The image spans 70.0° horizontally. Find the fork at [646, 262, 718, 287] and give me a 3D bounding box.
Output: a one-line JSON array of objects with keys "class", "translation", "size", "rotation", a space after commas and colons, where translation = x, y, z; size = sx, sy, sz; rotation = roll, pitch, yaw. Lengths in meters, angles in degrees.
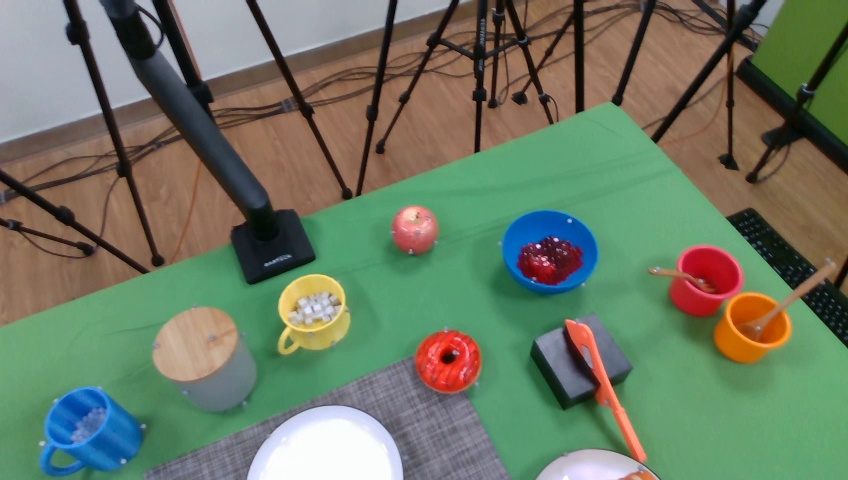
[{"class": "fork", "translation": [0.391, 0.050, 0.913], "size": [0.209, 0.018, 0.028], "rotation": [13, 44, -42]}]

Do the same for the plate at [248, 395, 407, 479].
[{"class": "plate", "translation": [-0.126, 0.313, 0.805], "size": [0.208, 0.039, 0.205], "rotation": [0, 56, 1]}]

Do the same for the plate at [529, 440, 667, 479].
[{"class": "plate", "translation": [0.225, 0.363, 0.768], "size": [0.209, 0.038, 0.207], "rotation": [0, 56, 1]}]

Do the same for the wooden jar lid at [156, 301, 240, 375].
[{"class": "wooden jar lid", "translation": [-0.299, 0.132, 0.806], "size": [0.108, 0.021, 0.107], "rotation": [-1, 54, 2]}]

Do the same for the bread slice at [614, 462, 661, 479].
[{"class": "bread slice", "translation": [0.262, 0.329, 0.724], "size": [0.018, 0.135, 0.106], "rotation": [-12, 57, -18]}]

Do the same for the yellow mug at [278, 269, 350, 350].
[{"class": "yellow mug", "translation": [-0.177, 0.114, 0.929], "size": [0.099, 0.064, 0.130], "rotation": [28, 61, 19]}]

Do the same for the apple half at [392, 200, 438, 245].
[{"class": "apple half", "translation": [-0.009, -0.034, 1.022], "size": [0.080, 0.075, 0.053], "rotation": [24, 54, 21]}]

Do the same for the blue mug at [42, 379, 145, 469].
[{"class": "blue mug", "translation": [-0.449, 0.257, 0.811], "size": [0.082, 0.107, 0.116], "rotation": [34, 63, 22]}]

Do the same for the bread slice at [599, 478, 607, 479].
[{"class": "bread slice", "translation": [0.209, 0.340, 0.717], "size": [0.019, 0.132, 0.104], "rotation": [-11, 56, -15]}]

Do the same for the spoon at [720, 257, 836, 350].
[{"class": "spoon", "translation": [0.515, 0.093, 0.881], "size": [0.022, 0.194, 0.041], "rotation": [11, 37, -47]}]

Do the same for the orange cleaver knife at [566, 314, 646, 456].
[{"class": "orange cleaver knife", "translation": [0.252, 0.201, 0.851], "size": [0.012, 0.077, 0.210], "rotation": [-21, 82, -13]}]

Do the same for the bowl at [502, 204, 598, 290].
[{"class": "bowl", "translation": [0.197, 0.024, 0.976], "size": [0.151, 0.077, 0.150], "rotation": [0, 56, 1]}]

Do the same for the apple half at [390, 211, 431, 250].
[{"class": "apple half", "translation": [-0.029, -0.007, 1.002], "size": [0.081, 0.082, 0.032], "rotation": [26, 55, 18]}]

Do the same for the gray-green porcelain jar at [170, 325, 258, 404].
[{"class": "gray-green porcelain jar", "translation": [-0.297, 0.167, 0.858], "size": [0.106, 0.127, 0.105], "rotation": [0, 55, 1]}]

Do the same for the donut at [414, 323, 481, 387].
[{"class": "donut", "translation": [0.035, 0.170, 0.895], "size": [0.099, 0.048, 0.098], "rotation": [0, 56, 0]}]
